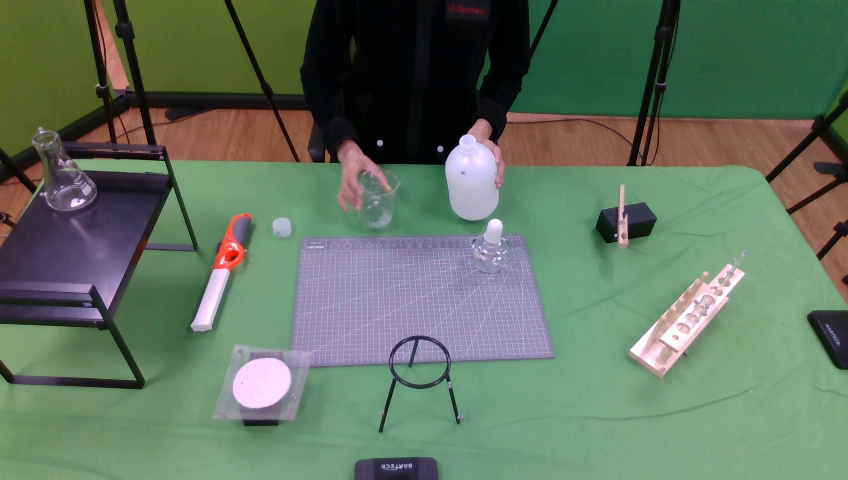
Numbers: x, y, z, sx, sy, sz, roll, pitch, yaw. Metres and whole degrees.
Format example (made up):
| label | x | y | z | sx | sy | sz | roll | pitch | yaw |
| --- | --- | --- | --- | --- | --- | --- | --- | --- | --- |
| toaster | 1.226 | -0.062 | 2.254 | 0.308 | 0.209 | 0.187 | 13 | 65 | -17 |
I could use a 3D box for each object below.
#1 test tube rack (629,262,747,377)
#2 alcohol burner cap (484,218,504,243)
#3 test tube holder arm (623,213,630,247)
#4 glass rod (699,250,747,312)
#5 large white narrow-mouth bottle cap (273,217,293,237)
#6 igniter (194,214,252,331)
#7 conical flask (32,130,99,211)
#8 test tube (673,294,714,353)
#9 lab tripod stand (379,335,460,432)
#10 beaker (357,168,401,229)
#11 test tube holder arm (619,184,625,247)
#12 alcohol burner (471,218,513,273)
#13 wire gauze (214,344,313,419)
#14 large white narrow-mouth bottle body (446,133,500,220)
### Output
| label | x | y | z | sx | sy | sz | roll | pitch | yaw |
| --- | --- | --- | --- | --- | --- | --- | --- | --- | --- |
| test tube rack | 0.464 | 0.126 | 1.060 | 0.242 | 0.085 | 0.066 | -34 | 56 | -30 |
| alcohol burner cap | 0.130 | -0.021 | 1.106 | 0.034 | 0.048 | 0.033 | 3 | 51 | -3 |
| test tube holder arm | 0.393 | -0.020 | 1.179 | 0.010 | 0.015 | 0.087 | 13 | 46 | 1 |
| glass rod | 0.500 | 0.075 | 1.021 | 0.008 | 0.201 | 0.008 | 0 | 55 | 1 |
| large white narrow-mouth bottle cap | -0.281 | -0.026 | 1.203 | 0.038 | 0.024 | 0.037 | 2 | 46 | -2 |
| igniter | -0.367 | 0.050 | 1.119 | 0.057 | 0.025 | 0.275 | -4 | 45 | 7 |
| conical flask | -0.565 | -0.110 | 0.944 | 0.075 | 0.122 | 0.075 | 2 | 46 | -2 |
| test tube | 0.428 | 0.137 | 0.978 | 0.017 | 0.151 | 0.017 | 4 | 47 | -4 |
| lab tripod stand | -0.011 | 0.214 | 0.911 | 0.148 | 0.132 | 0.147 | 1 | 45 | 0 |
| beaker | -0.090 | -0.078 | 1.180 | 0.084 | 0.101 | 0.073 | -5 | 50 | -16 |
| test tube holder arm | 0.396 | -0.053 | 1.210 | 0.013 | 0.015 | 0.177 | 14 | 46 | 2 |
| alcohol burner | 0.128 | 0.005 | 1.132 | 0.078 | 0.120 | 0.077 | 0 | 47 | 0 |
| wire gauze | -0.241 | 0.213 | 0.916 | 0.121 | 0.011 | 0.124 | 5 | 46 | 1 |
| large white narrow-mouth bottle body | 0.094 | -0.131 | 1.178 | 0.102 | 0.196 | 0.101 | -4 | 56 | 6 |
